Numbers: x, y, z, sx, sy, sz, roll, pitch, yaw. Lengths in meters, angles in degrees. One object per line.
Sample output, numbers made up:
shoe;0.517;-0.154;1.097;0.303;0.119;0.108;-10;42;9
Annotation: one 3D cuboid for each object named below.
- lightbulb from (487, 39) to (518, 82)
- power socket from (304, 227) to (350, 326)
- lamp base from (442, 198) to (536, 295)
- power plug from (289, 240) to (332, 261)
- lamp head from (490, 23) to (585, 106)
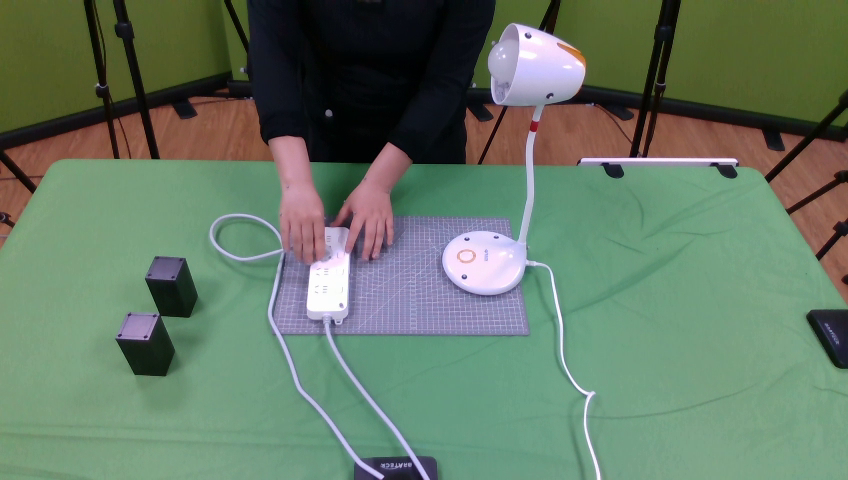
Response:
lightbulb;0.143;-0.251;0.865;0.108;0.060;0.059;9;45;-7
power socket;-0.176;0.058;1.116;0.072;0.033;0.225;-1;46;-4
lamp base;0.130;-0.012;1.105;0.179;0.181;0.159;-1;46;-9
power plug;-0.207;0.022;1.125;0.072;0.053;0.035;4;46;9
lamp head;0.165;-0.241;0.872;0.123;0.113;0.111;9;43;-17
